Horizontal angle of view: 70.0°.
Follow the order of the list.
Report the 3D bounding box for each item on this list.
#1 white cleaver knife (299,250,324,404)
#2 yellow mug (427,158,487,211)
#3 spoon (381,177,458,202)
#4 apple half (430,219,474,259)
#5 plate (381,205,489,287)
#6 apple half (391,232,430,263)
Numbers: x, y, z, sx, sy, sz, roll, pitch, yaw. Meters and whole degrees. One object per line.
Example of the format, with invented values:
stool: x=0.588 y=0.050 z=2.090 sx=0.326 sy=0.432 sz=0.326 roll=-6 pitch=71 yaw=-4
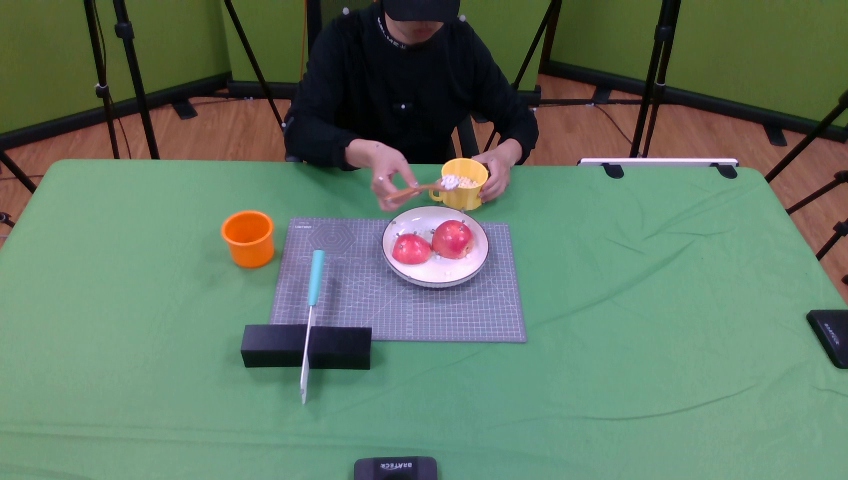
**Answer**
white cleaver knife: x=-0.194 y=0.134 z=1.019 sx=0.021 sy=0.066 sz=0.284 roll=5 pitch=50 yaw=-5
yellow mug: x=0.067 y=-0.115 z=1.284 sx=0.131 sy=0.064 sz=0.099 roll=-17 pitch=48 yaw=-17
spoon: x=-0.007 y=-0.095 z=1.124 sx=0.194 sy=0.022 sz=0.041 roll=-15 pitch=46 yaw=-45
apple half: x=0.056 y=-0.008 z=1.172 sx=0.081 sy=0.053 sz=0.074 roll=-33 pitch=59 yaw=-31
plate: x=0.021 y=0.015 z=1.170 sx=0.209 sy=0.038 sz=0.208 roll=2 pitch=46 yaw=-2
apple half: x=-0.024 y=0.009 z=1.163 sx=0.081 sy=0.033 sz=0.081 roll=2 pitch=43 yaw=-2
